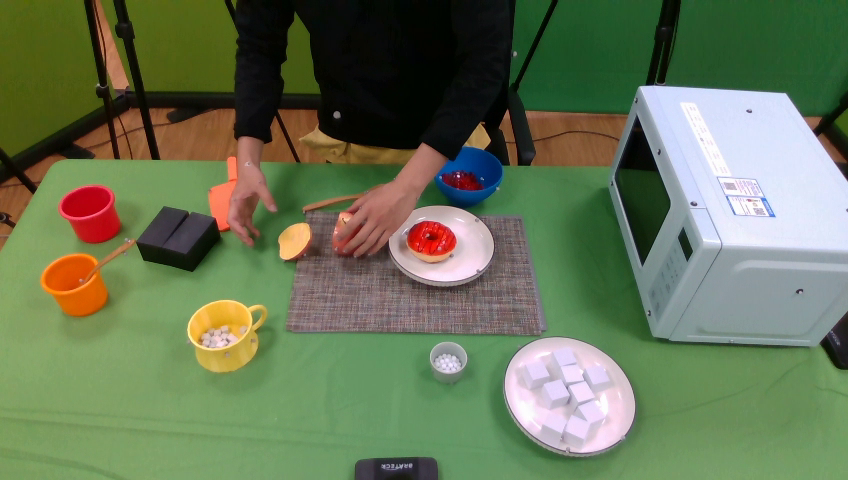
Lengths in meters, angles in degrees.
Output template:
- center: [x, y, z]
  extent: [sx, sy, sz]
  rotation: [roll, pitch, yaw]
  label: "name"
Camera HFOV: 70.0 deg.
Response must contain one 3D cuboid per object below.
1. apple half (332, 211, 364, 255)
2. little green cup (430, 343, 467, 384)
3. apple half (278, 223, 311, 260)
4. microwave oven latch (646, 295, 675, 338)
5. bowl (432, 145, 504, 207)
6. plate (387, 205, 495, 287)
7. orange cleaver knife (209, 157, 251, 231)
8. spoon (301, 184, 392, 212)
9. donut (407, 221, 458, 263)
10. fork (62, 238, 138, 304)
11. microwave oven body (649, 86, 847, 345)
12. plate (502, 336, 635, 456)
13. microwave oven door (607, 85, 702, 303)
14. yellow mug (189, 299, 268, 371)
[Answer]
- center: [-0.142, -0.010, 1.157]
  extent: [0.053, 0.075, 0.080]
  rotation: [9, 43, 1]
  label: "apple half"
- center: [0.039, 0.203, 0.994]
  extent: [0.061, 0.039, 0.061]
  rotation: [2, 46, -2]
  label: "little green cup"
- center: [-0.241, 0.007, 1.157]
  extent: [0.081, 0.033, 0.081]
  rotation: [-17, 54, 24]
  label: "apple half"
- center: [0.412, 0.134, 1.061]
  extent: [0.030, 0.029, 0.078]
  rotation: [4, 45, 1]
  label: "microwave oven latch"
- center: [0.091, -0.124, 1.286]
  extent: [0.151, 0.077, 0.150]
  rotation: [2, 46, -2]
  label: "bowl"
- center: [0.033, 0.014, 1.171]
  extent: [0.209, 0.038, 0.208]
  rotation: [2, 46, -2]
  label: "plate"
- center: [-0.409, -0.099, 1.266]
  extent: [0.077, 0.012, 0.210]
  rotation: [-14, 50, -9]
  label: "orange cleaver knife"
- center: [-0.161, -0.087, 1.270]
  extent: [0.194, 0.022, 0.041]
  rotation: [-11, 64, -15]
  label: "spoon"
- center: [0.016, 0.002, 1.166]
  extent: [0.099, 0.048, 0.098]
  rotation: [3, 43, -2]
  label: "donut"
- center: [-0.547, 0.053, 1.018]
  extent: [0.207, 0.019, 0.028]
  rotation: [-36, 41, 23]
  label: "fork"
- center: [0.568, -0.053, 1.118]
  extent: [0.326, 0.261, 0.439]
  rotation: [2, 45, -1]
  label: "microwave oven body"
- center: [0.225, 0.248, 0.964]
  extent: [0.208, 0.039, 0.206]
  rotation: [2, 46, -2]
  label: "plate"
- center: [0.423, -0.094, 1.140]
  extent: [0.039, 0.245, 0.353]
  rotation: [2, 46, -1]
  label: "microwave oven door"
- center: [-0.316, 0.148, 1.002]
  extent: [0.131, 0.064, 0.099]
  rotation: [-33, 56, -31]
  label: "yellow mug"
